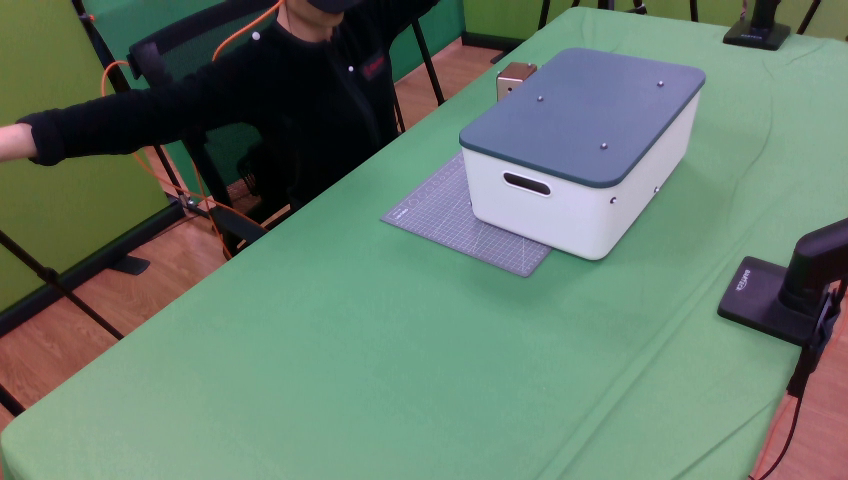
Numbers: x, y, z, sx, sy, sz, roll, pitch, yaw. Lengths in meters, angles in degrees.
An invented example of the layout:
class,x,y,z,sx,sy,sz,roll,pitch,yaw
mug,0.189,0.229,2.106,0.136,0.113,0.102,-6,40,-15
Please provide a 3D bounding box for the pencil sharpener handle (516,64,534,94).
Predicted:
class,x,y,z,sx,sy,sz,roll,pitch,yaw
pencil sharpener handle,0.214,-0.337,1.249,0.036,0.068,0.031,12,44,28

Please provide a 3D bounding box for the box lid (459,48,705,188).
class,x,y,z,sx,sy,sz,roll,pitch,yaw
box lid,0.256,-0.210,0.953,0.261,0.015,0.372,23,49,31

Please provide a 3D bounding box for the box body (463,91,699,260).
class,x,y,z,sx,sy,sz,roll,pitch,yaw
box body,0.264,-0.153,1.000,0.252,0.161,0.365,22,49,32

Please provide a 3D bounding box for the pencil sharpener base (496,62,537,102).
class,x,y,z,sx,sy,sz,roll,pitch,yaw
pencil sharpener base,0.190,-0.297,1.225,0.061,0.107,0.077,14,45,27
